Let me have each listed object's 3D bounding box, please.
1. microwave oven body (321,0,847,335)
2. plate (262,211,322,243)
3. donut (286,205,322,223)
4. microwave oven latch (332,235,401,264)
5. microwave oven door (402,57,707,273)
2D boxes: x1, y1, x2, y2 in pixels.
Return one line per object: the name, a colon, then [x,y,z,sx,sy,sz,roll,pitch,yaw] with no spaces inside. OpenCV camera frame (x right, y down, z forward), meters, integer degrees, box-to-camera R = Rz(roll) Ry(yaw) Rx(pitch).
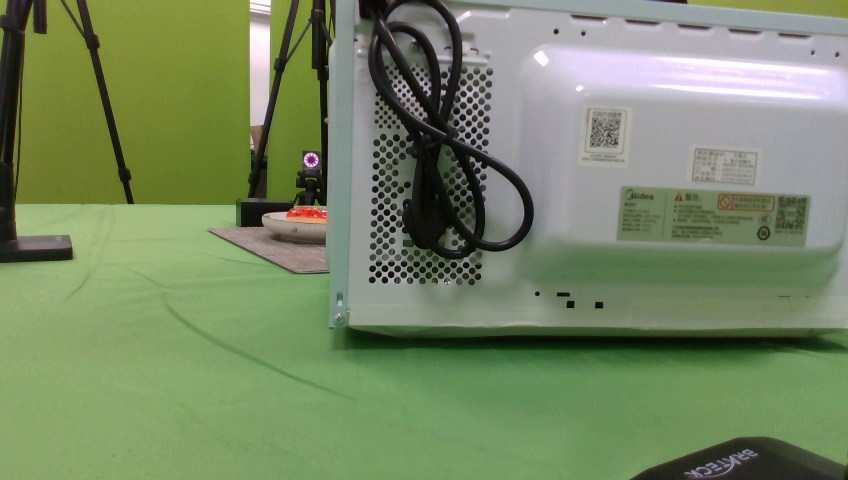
microwave oven body: [0.133,-0.062,0.567,0.443,0.260,0.325,2,6,-8]
plate: [-0.170,-0.023,1.036,0.209,0.038,0.209,2,7,0]
donut: [-0.186,-0.034,1.031,0.099,0.048,0.099,3,5,0]
microwave oven latch: [-0.066,0.011,0.700,0.079,0.029,0.030,2,6,-8]
microwave oven door: [0.156,-0.086,0.726,0.356,0.243,0.039,2,8,-5]
